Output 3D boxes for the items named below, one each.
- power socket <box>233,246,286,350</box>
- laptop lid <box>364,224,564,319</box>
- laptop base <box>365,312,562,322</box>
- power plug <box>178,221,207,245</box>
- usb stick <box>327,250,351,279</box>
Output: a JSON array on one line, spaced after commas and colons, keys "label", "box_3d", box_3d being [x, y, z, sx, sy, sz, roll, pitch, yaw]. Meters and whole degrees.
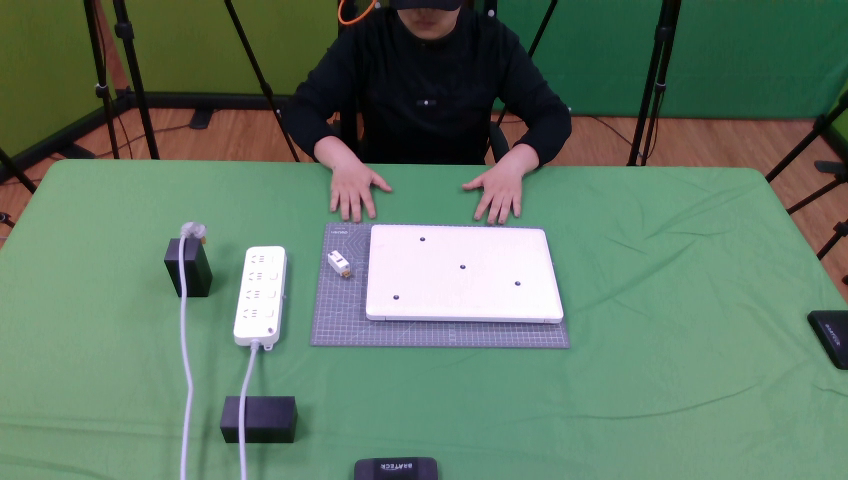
[{"label": "power socket", "box_3d": [-0.290, 0.094, 1.077, 0.072, 0.033, 0.225, -2, 46, -5]}, {"label": "laptop lid", "box_3d": [0.070, 0.053, 1.138, 0.357, 0.013, 0.240, 3, 44, -2]}, {"label": "laptop base", "box_3d": [0.070, 0.063, 1.145, 0.354, 0.023, 0.234, 1, 43, -3]}, {"label": "power plug", "box_3d": [-0.413, -0.003, 1.070, 0.035, 0.053, 0.072, -1, 42, 24]}, {"label": "usb stick", "box_3d": [-0.158, 0.047, 1.134, 0.021, 0.027, 0.059, -29, 57, -27]}]
